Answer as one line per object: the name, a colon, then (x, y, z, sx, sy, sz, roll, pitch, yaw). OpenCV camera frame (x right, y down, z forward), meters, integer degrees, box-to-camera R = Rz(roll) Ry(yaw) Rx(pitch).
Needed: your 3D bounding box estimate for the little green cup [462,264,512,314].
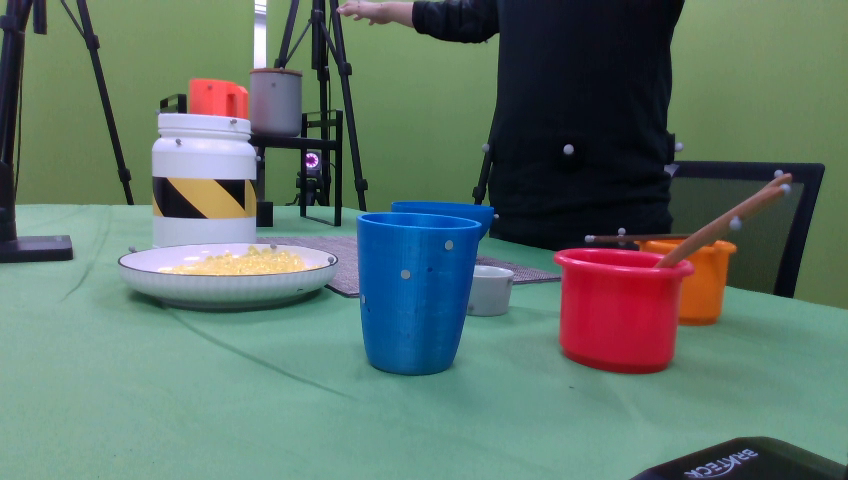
little green cup: (0.053, 0.047, 0.580, 0.061, 0.038, 0.061, 3, 8, 0)

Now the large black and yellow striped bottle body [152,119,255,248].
large black and yellow striped bottle body: (-0.296, -0.070, 0.819, 0.131, 0.184, 0.130, 2, 7, 0)

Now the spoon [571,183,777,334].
spoon: (0.161, 0.020, 0.413, 0.042, 0.021, 0.193, 1, -36, -24)

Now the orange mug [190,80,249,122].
orange mug: (-0.393, -0.257, 1.173, 0.126, 0.100, 0.084, 1, 6, 25)

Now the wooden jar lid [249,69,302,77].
wooden jar lid: (-0.309, -0.341, 1.262, 0.108, 0.020, 0.108, 1, 8, 0)

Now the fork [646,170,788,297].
fork: (0.256, 0.004, 0.543, 0.028, 0.018, 0.207, 3, -36, -9)

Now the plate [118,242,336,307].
plate: (-0.194, 0.033, 0.615, 0.209, 0.038, 0.209, 2, 7, 0)

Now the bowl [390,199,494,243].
bowl: (0.024, -0.015, 0.871, 0.151, 0.077, 0.151, 3, 7, 0)

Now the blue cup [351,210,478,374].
blue cup: (-0.009, 0.034, 0.414, 0.093, 0.100, 0.092, 4, 8, 0)

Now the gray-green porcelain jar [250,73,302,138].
gray-green porcelain jar: (-0.312, -0.280, 1.270, 0.106, 0.126, 0.106, 3, 8, 0)

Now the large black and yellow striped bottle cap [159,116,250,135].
large black and yellow striped bottle cap: (-0.292, -0.153, 0.810, 0.115, 0.019, 0.115, 3, 9, 0)

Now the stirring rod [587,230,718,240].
stirring rod: (0.226, -0.006, 0.588, 0.177, 0.006, 0.014, -2, 10, -30)
